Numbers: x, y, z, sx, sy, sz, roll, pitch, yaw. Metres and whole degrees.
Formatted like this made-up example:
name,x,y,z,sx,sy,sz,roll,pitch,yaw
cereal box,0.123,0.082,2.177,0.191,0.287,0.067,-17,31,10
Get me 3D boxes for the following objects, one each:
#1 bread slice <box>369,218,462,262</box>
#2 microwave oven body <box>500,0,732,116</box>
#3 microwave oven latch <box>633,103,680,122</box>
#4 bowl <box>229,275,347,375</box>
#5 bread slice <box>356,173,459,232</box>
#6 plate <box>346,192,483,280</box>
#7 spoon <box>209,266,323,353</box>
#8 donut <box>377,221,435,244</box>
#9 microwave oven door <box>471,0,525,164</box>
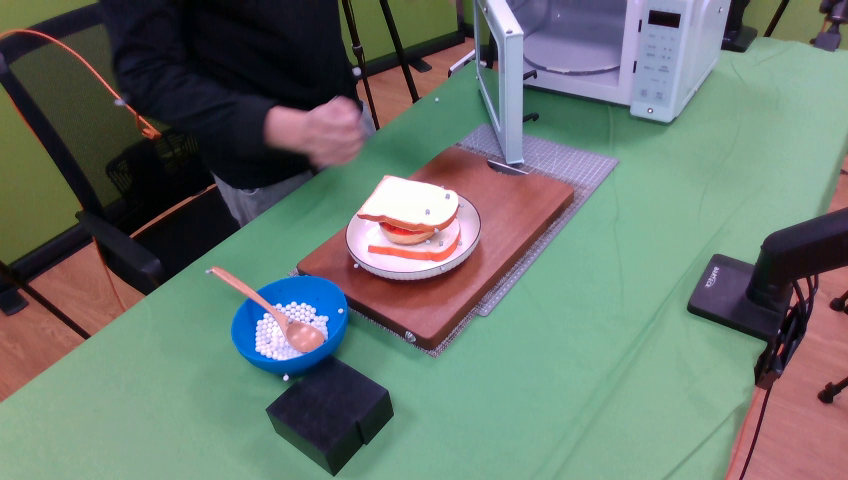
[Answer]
name,x,y,z,sx,sy,sz,roll,pitch,yaw
bread slice,-0.008,-0.009,0.929,0.131,0.019,0.105,7,44,20
microwave oven body,0.377,-0.463,1.267,0.438,0.261,0.327,21,49,30
microwave oven latch,0.443,-0.249,1.157,0.078,0.029,0.030,21,48,30
bowl,-0.171,0.125,0.802,0.151,0.077,0.150,-4,40,4
bread slice,-0.018,-0.054,0.886,0.134,0.018,0.107,12,43,12
plate,-0.013,-0.008,0.922,0.207,0.039,0.206,-4,40,4
spoon,-0.213,0.087,0.806,0.193,0.021,0.042,36,57,11
donut,-0.022,-0.032,0.907,0.099,0.048,0.098,-4,38,4
microwave oven door,0.136,-0.342,1.153,0.039,0.245,0.353,-8,40,-1
